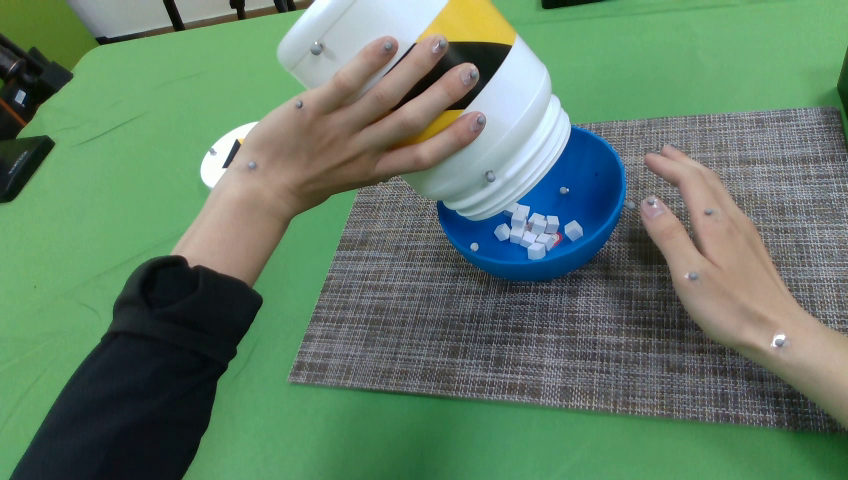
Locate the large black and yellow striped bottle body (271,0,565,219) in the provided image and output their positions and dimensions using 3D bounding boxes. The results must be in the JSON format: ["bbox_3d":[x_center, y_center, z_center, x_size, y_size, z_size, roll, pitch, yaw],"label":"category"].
[{"bbox_3d":[0.002,-0.113,0.432,0.131,0.185,0.129,-40,23,21],"label":"large black and yellow striped bottle body"}]

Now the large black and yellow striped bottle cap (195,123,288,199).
[{"bbox_3d":[-0.220,-0.097,0.729,0.115,0.019,0.114,-9,51,12],"label":"large black and yellow striped bottle cap"}]

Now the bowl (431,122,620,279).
[{"bbox_3d":[0.088,-0.021,0.507,0.151,0.077,0.150,-10,51,13],"label":"bowl"}]
